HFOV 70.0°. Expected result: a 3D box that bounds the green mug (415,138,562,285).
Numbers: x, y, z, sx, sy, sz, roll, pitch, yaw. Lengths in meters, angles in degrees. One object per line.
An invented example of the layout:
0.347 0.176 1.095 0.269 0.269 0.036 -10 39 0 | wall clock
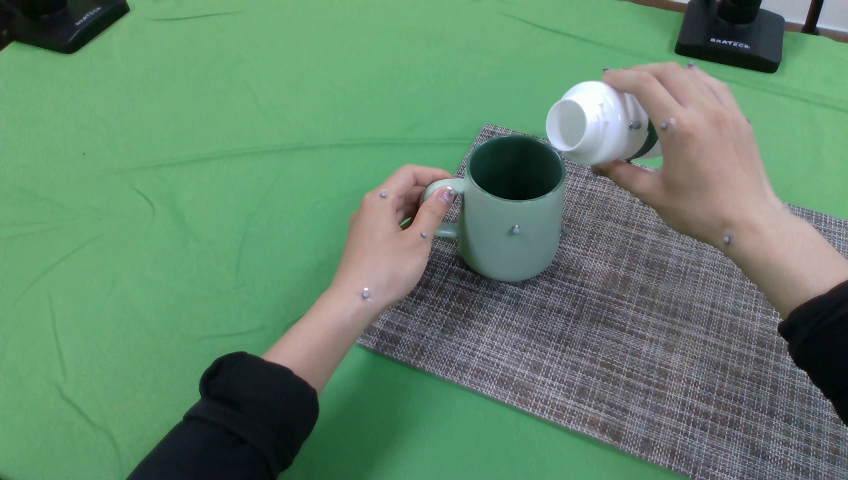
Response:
0.055 -0.021 0.518 0.125 0.106 0.091 -3 51 0 | green mug

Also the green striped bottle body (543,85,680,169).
0.147 -0.091 0.482 0.120 0.063 0.062 -11 46 -40 | green striped bottle body
